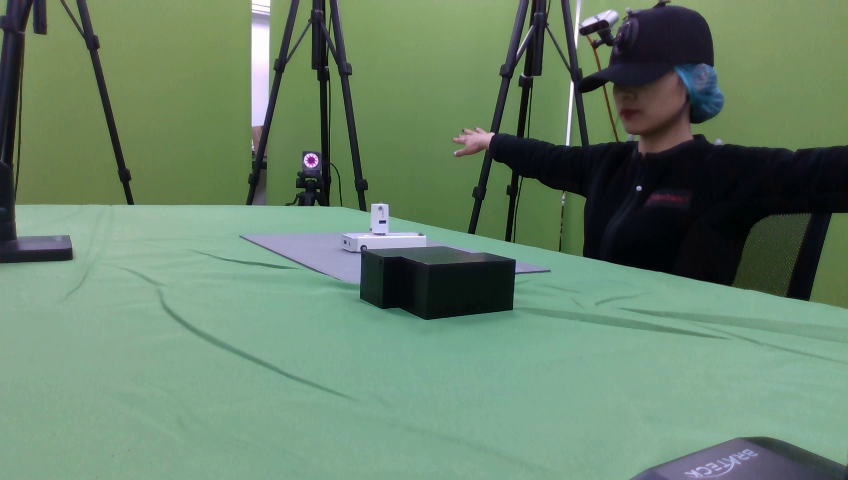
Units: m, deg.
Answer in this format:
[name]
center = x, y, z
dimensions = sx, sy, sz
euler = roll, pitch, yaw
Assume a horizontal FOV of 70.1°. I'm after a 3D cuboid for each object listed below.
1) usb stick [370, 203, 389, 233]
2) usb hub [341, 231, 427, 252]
[usb stick]
center = -0.068, -0.027, 0.926
dimensions = 0.021, 0.059, 0.027
euler = -2, 11, -30
[usb hub]
center = -0.061, 0.002, 0.930
dimensions = 0.126, 0.025, 0.049
euler = -2, 9, -28
